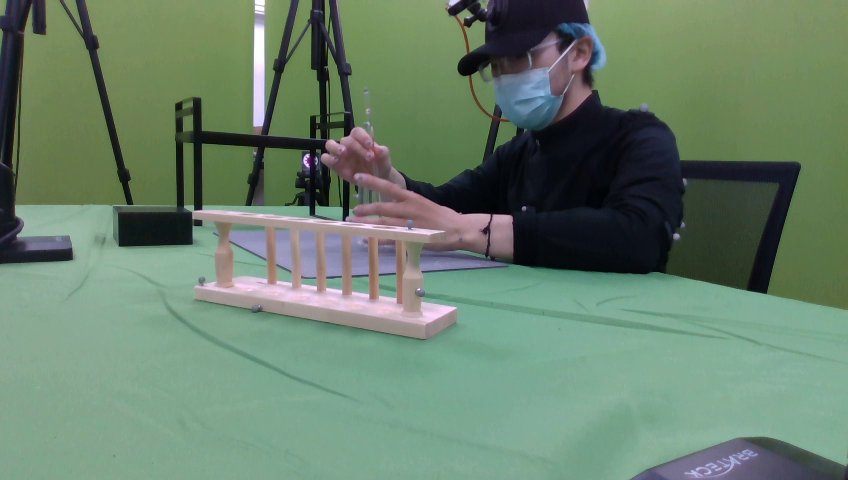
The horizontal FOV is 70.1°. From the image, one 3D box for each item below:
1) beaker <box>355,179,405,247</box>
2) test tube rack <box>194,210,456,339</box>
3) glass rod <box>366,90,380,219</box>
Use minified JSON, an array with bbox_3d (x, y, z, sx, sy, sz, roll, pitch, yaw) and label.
[{"bbox_3d":[-0.068,-0.040,0.931,0.074,0.100,0.083,3,4,-19],"label":"beaker"},{"bbox_3d":[-0.093,0.023,0.546,0.241,0.085,0.067,6,7,25],"label":"test tube rack"},{"bbox_3d":[-0.079,-0.131,0.938,0.008,0.199,0.008,-5,4,1],"label":"glass rod"}]
